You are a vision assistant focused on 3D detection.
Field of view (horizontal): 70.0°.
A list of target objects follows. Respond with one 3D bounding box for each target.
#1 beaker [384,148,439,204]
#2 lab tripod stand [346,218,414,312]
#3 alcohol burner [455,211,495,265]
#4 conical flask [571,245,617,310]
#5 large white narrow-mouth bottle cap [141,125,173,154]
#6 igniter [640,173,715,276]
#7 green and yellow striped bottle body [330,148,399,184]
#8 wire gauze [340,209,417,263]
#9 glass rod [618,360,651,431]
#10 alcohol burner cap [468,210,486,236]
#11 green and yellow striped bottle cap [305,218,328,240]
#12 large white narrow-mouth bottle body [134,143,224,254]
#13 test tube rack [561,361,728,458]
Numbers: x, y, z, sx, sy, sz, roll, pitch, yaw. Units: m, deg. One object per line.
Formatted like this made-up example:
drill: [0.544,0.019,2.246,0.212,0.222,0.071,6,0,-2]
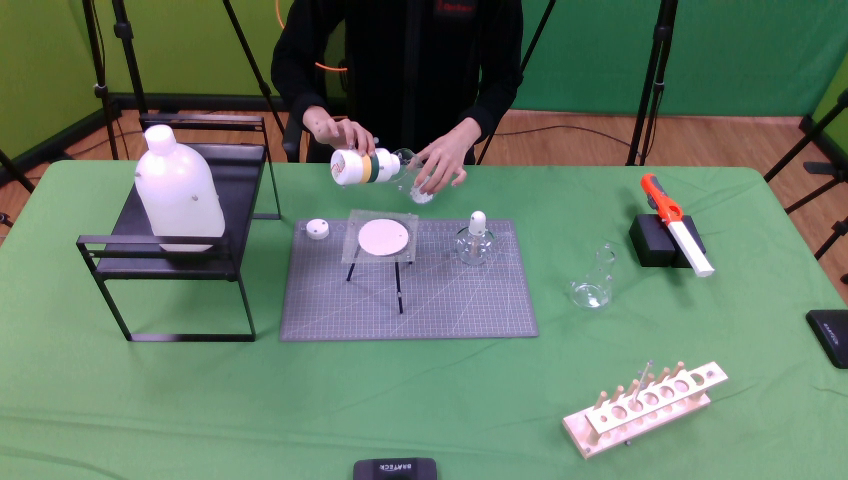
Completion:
beaker: [-0.021,-0.121,1.166,0.084,0.101,0.073,-21,53,27]
lab tripod stand: [-0.069,0.037,1.075,0.148,0.132,0.147,1,48,-1]
alcohol burner: [0.097,-0.010,1.147,0.078,0.120,0.077,1,47,-1]
conical flask: [0.313,0.064,1.089,0.075,0.122,0.075,2,46,-2]
large white narrow-mouth bottle cap: [-0.356,-0.134,0.810,0.038,0.024,0.037,1,48,-1]
igniter: [0.495,-0.039,1.204,0.057,0.025,0.274,-2,47,-12]
green and yellow striped bottle body: [-0.104,-0.135,1.098,0.120,0.063,0.063,-8,45,-36]
wire gauze: [-0.074,-0.007,1.023,0.121,0.011,0.124,3,46,0]
glass rod: [0.298,0.227,0.865,0.008,0.201,0.008,-1,47,2]
alcohol burner cap: [0.100,-0.034,1.119,0.034,0.048,0.033,0,53,0]
green and yellow striped bottle cap: [-0.214,-0.022,1.203,0.045,0.020,0.045,4,46,-4]
large white narrow-mouth bottle body: [-0.358,-0.075,0.875,0.102,0.195,0.101,1,48,-1]
test tube rack: [0.341,0.248,0.940,0.243,0.085,0.066,-15,49,-18]
